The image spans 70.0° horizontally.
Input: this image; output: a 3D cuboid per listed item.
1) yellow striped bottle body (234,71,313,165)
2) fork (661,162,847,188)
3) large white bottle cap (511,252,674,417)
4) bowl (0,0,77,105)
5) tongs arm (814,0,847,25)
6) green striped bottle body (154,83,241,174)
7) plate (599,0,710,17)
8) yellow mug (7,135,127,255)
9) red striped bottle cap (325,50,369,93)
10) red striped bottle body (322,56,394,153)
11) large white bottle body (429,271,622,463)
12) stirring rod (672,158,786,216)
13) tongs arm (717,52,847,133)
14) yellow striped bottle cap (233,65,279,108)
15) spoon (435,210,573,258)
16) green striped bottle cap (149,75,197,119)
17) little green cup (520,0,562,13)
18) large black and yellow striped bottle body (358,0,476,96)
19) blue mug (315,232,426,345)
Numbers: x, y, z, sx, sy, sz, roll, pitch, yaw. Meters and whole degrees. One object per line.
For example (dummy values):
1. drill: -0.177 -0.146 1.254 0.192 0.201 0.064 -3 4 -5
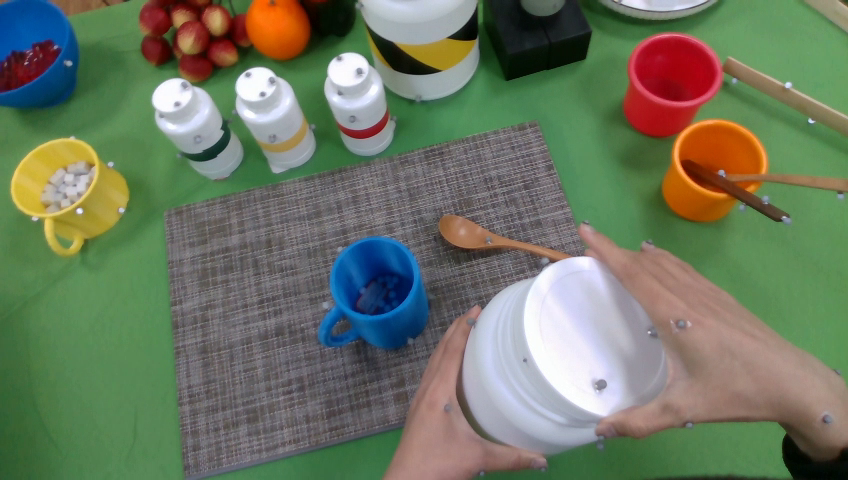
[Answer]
1. yellow striped bottle body: -0.168 -0.140 0.675 0.063 0.121 0.062 -2 67 5
2. fork: 0.324 -0.062 0.589 0.028 0.019 0.205 -52 29 -15
3. large white bottle cap: 0.116 0.062 0.415 0.115 0.018 0.114 6 62 -12
4. bowl: -0.497 -0.224 0.758 0.151 0.077 0.150 -1 68 4
5. tongs arm: 0.573 -0.179 0.681 0.028 0.028 0.384 -32 69 -16
6. green striped bottle body: -0.255 -0.128 0.677 0.063 0.120 0.062 -1 67 4
7. plate: 0.289 -0.364 0.775 0.209 0.038 0.207 -1 68 4
8. yellow mug: -0.404 -0.046 0.685 0.100 0.064 0.130 -5 68 2
9. red striped bottle cap: -0.079 -0.175 0.625 0.044 0.018 0.044 0 66 1
10. red striped bottle body: -0.074 -0.154 0.673 0.063 0.120 0.062 -3 67 7
11. large white bottle body: 0.088 0.106 0.501 0.131 0.185 0.129 7 62 -13
12. stirring rod: 0.293 -0.056 0.596 0.014 0.006 0.174 -11 24 -4
13. tongs arm: 0.509 -0.119 0.659 0.382 0.027 0.050 36 71 16
14. yellow striped bottle cap: -0.174 -0.160 0.627 0.044 0.019 0.044 0 64 1
15. spoon: 0.105 0.006 0.643 0.193 0.022 0.041 15 49 10
16. green striped bottle cap: -0.261 -0.148 0.629 0.044 0.020 0.044 -1 67 3
17. little green cup: 0.137 -0.297 0.704 0.061 0.039 0.061 -1 65 2
18. large black and yellow striped bottle body: -0.007 -0.265 0.679 0.131 0.185 0.130 -2 68 4
19. blue mug: -0.056 0.060 0.589 0.116 0.106 0.082 -38 69 -10
